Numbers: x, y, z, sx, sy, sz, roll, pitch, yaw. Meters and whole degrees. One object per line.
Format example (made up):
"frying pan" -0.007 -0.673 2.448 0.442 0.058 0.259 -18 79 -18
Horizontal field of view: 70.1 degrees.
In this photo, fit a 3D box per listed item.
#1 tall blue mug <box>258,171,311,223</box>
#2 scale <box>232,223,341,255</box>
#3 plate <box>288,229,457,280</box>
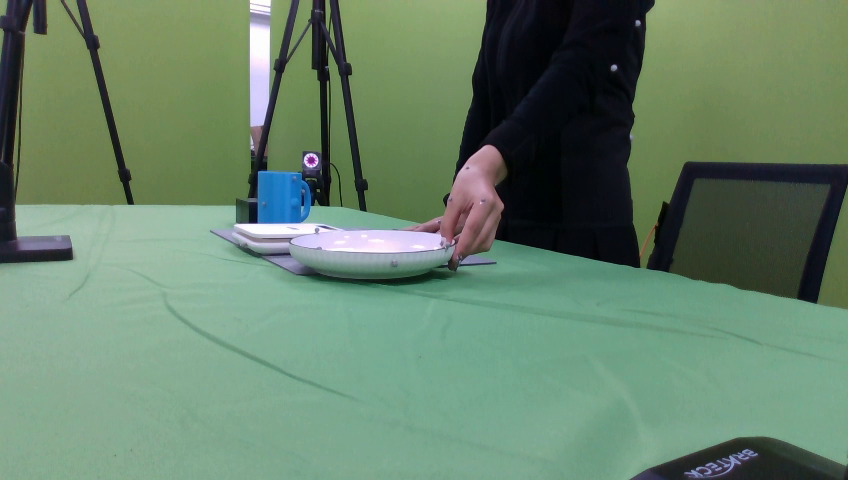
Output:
"tall blue mug" -0.258 -0.070 1.107 0.078 0.108 0.107 2 7 5
"scale" -0.178 -0.004 0.920 0.202 0.031 0.148 -1 9 -30
"plate" -0.063 0.016 0.754 0.209 0.038 0.209 0 8 0
